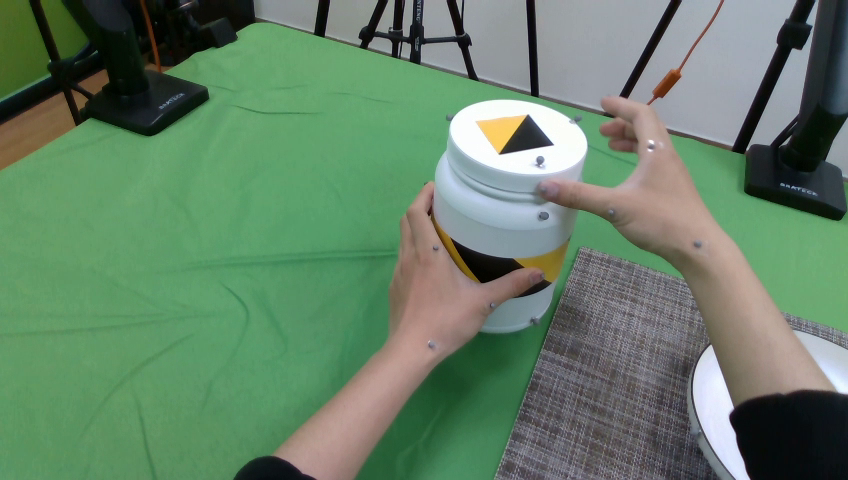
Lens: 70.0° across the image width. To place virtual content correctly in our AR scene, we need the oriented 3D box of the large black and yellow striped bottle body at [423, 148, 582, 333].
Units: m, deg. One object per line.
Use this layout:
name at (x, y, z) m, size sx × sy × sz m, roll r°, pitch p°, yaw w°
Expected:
large black and yellow striped bottle body at (0.070, -0.018, 0.559) m, size 0.131 × 0.185 × 0.129 m, roll 3°, pitch 43°, yaw -3°

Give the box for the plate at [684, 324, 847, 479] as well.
plate at (0.315, 0.160, 0.496) m, size 0.208 × 0.039 × 0.205 m, roll 4°, pitch 43°, yaw -3°

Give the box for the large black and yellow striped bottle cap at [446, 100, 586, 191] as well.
large black and yellow striped bottle cap at (0.076, -0.081, 0.501) m, size 0.115 × 0.019 × 0.114 m, roll 3°, pitch 41°, yaw -2°
